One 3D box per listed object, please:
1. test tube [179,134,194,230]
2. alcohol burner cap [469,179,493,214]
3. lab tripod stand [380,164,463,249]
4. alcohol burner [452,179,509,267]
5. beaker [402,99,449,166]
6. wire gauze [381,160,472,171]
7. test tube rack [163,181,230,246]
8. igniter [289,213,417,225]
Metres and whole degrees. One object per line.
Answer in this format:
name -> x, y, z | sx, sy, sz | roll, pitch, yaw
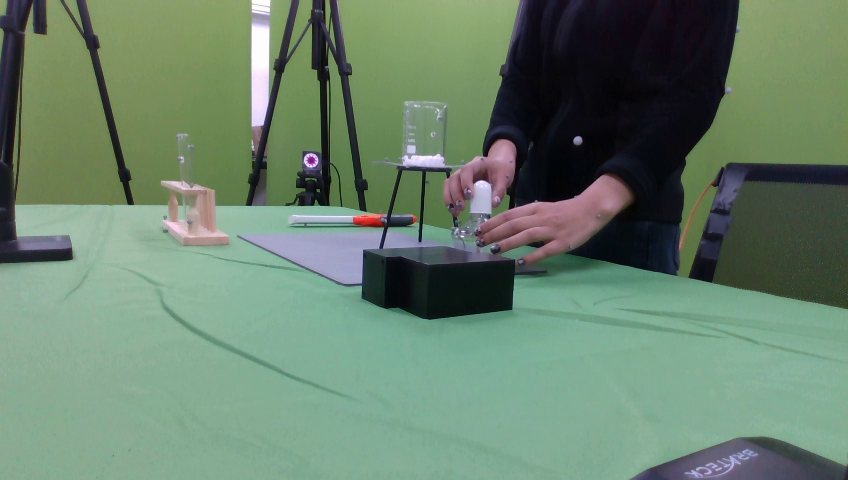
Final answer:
test tube -> -0.366, -0.089, 0.938 | 0.017, 0.150, 0.017 | -1, 9, 1
alcohol burner cap -> 0.078, -0.059, 0.818 | 0.034, 0.048, 0.034 | 3, -1, 0
lab tripod stand -> -0.003, -0.055, 0.967 | 0.148, 0.131, 0.148 | 3, 9, 0
alcohol burner -> 0.077, -0.023, 0.821 | 0.078, 0.119, 0.078 | 1, 9, 0
beaker -> 0.003, -0.168, 0.957 | 0.073, 0.100, 0.084 | 8, 11, 35
wire gauze -> -0.004, -0.120, 0.959 | 0.122, 0.011, 0.124 | -5, 13, -33
test tube rack -> -0.387, -0.050, 1.015 | 0.067, 0.085, 0.241 | -2, 9, -30
igniter -> -0.144, -0.044, 1.275 | 0.278, 0.025, 0.057 | -1, -1, -27
